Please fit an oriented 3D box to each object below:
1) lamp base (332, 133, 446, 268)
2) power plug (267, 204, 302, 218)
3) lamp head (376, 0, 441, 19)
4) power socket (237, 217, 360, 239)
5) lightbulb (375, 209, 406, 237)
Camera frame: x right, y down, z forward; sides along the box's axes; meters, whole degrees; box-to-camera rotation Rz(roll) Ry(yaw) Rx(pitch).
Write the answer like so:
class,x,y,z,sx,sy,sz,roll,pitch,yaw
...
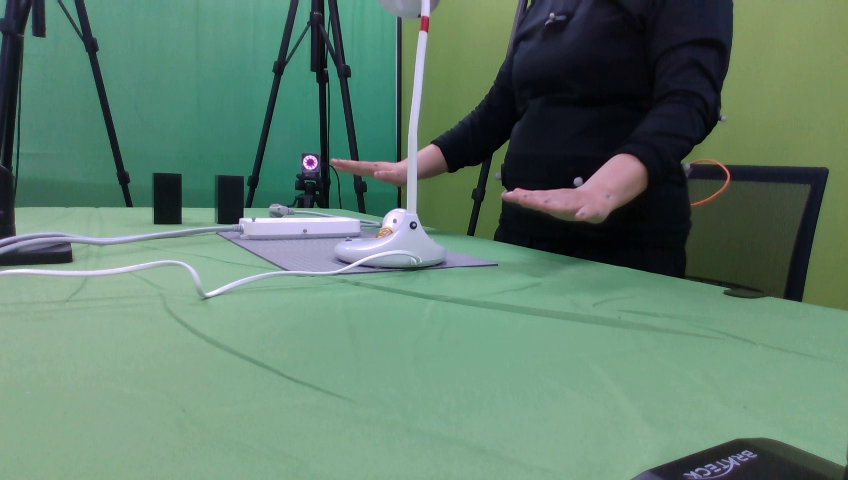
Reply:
class,x,y,z,sx,sy,sz,roll,pitch,yaw
lamp base,-0.038,-0.058,0.833,0.161,0.180,0.178,-2,11,-32
power plug,-0.328,-0.060,1.404,0.073,0.035,0.052,23,-15,-26
lamp head,-0.012,-0.373,0.822,0.113,0.112,0.122,1,0,-14
power socket,-0.221,-0.023,1.080,0.228,0.032,0.072,-2,8,-32
lightbulb,-0.053,-0.016,1.022,0.059,0.059,0.108,6,23,21
